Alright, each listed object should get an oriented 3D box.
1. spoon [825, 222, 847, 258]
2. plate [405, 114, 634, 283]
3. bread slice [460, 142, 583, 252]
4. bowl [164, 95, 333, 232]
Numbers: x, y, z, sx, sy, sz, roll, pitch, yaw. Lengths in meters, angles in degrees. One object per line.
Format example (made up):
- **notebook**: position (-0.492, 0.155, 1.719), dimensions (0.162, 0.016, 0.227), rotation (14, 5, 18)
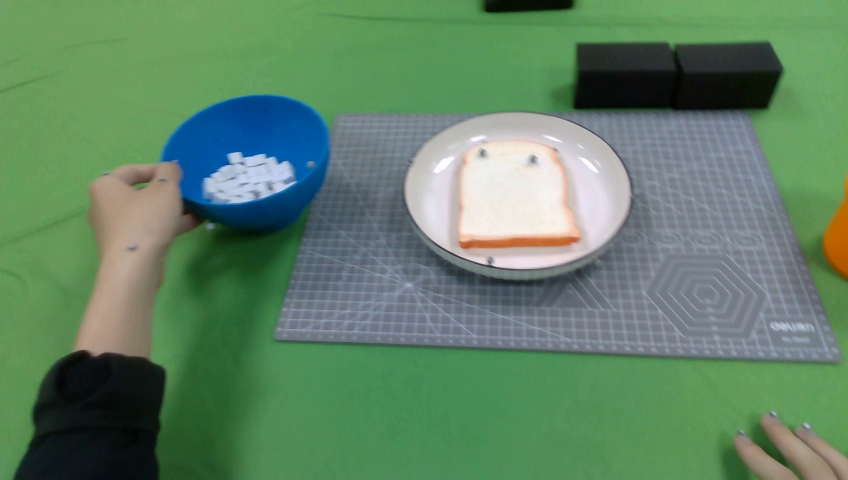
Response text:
- **spoon**: position (0.412, -0.022, 0.457), dimensions (0.022, 0.193, 0.041), rotation (38, 53, -21)
- **plate**: position (0.086, -0.040, 0.571), dimensions (0.209, 0.038, 0.207), rotation (-3, 50, 4)
- **bread slice**: position (0.084, -0.043, 0.576), dimensions (0.107, 0.018, 0.133), rotation (-4, 51, 2)
- **bowl**: position (-0.155, -0.060, 0.573), dimensions (0.151, 0.077, 0.150), rotation (-3, 50, 3)
